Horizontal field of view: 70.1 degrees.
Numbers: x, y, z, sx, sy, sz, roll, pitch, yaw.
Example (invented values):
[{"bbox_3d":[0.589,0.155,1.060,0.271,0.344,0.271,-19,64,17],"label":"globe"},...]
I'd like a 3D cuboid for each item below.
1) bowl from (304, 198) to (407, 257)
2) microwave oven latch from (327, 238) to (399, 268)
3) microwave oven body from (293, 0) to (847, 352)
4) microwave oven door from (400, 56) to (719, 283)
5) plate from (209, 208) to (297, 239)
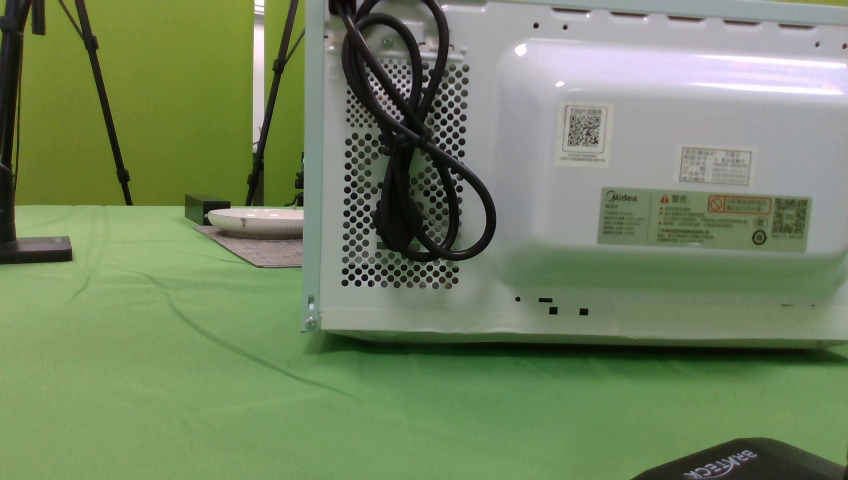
[{"bbox_3d":[-0.101,-0.019,0.895,0.151,0.077,0.151,3,7,0],"label":"bowl"},{"bbox_3d":[-0.069,0.014,0.694,0.079,0.029,0.030,3,7,-3],"label":"microwave oven latch"},{"bbox_3d":[0.122,-0.055,0.550,0.442,0.260,0.325,3,7,-5],"label":"microwave oven body"},{"bbox_3d":[0.155,-0.077,0.698,0.356,0.243,0.039,2,8,-5],"label":"microwave oven door"},{"bbox_3d":[-0.271,-0.029,1.074,0.208,0.039,0.207,3,7,0],"label":"plate"}]
